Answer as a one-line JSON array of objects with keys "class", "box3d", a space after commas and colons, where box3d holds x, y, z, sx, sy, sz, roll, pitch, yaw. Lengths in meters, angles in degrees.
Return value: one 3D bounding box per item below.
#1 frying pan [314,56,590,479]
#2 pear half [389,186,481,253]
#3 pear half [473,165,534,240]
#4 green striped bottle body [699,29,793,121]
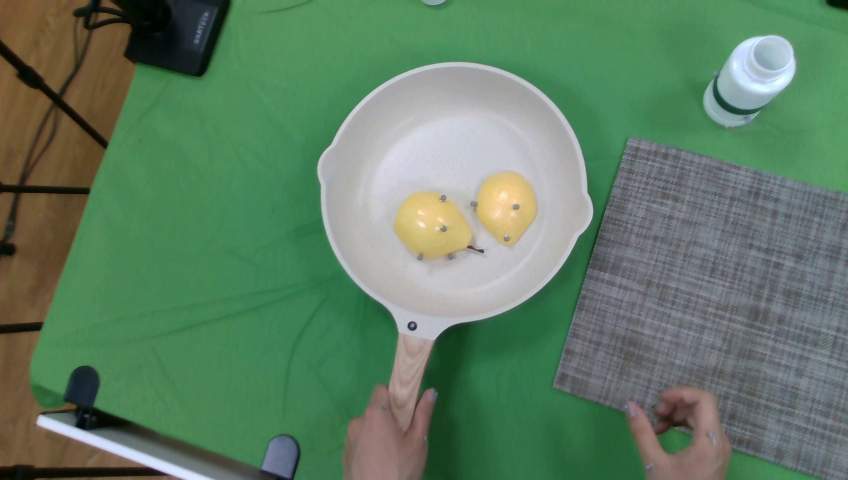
[{"class": "frying pan", "box3d": [0.003, 0.039, 0.660, 0.306, 0.103, 0.485, 13, 75, 10]}, {"class": "pear half", "box3d": [0.016, -0.018, 0.691, 0.109, 0.056, 0.076, 24, 91, 7]}, {"class": "pear half", "box3d": [0.090, -0.046, 0.695, 0.070, 0.031, 0.087, -5, 77, 12]}, {"class": "green striped bottle body", "box3d": [0.339, -0.175, 0.637, 0.063, 0.120, 0.063, -1, 81, 8]}]
